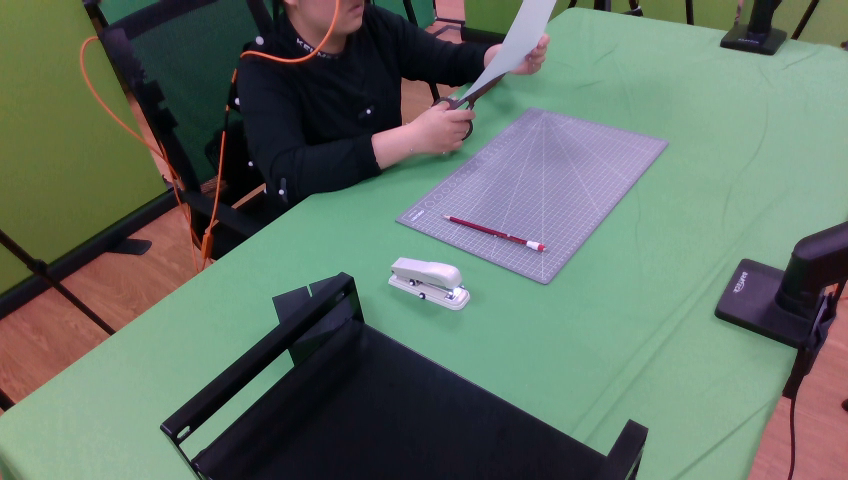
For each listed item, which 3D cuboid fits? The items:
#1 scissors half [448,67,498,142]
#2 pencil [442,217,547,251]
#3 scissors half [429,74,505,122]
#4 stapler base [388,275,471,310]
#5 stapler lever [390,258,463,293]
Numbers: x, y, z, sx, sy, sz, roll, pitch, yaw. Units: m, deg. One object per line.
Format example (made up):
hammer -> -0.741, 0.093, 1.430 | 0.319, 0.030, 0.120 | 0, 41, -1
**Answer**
scissors half -> 0.095, -0.252, 1.136 | 0.040, 0.175, 0.013 | 30, 40, -1
pencil -> 0.110, -0.012, 0.979 | 0.192, 0.012, 0.012 | 18, 46, 30
scissors half -> 0.079, -0.269, 1.132 | 0.174, 0.040, 0.013 | -20, 21, 33
stapler base -> 0.007, 0.066, 0.897 | 0.129, 0.024, 0.041 | 17, 44, 29
stapler lever -> 0.003, 0.046, 0.881 | 0.117, 0.040, 0.027 | 17, 44, 29
